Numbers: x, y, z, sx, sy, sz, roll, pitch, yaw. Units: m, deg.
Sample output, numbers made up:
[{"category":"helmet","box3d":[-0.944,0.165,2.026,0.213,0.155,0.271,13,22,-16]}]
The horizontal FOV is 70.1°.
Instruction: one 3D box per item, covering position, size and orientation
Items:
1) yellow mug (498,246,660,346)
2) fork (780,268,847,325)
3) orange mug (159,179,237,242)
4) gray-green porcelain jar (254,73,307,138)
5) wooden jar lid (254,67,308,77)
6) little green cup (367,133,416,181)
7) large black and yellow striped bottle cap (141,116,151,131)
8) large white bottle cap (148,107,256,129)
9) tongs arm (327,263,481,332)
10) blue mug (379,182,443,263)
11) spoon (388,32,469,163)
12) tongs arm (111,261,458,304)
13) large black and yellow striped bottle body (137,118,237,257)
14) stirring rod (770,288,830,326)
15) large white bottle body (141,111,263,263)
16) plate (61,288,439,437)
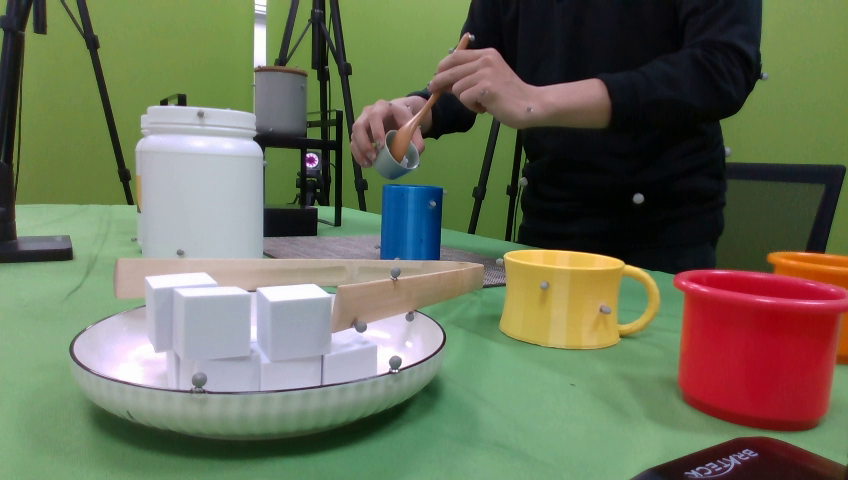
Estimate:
[{"category":"yellow mug","box3d":[0.130,0.045,0.508,0.131,0.064,0.100,4,7,6]},{"category":"fork","box3d":[0.324,0.018,0.441,0.028,0.018,0.207,-3,-36,-5]},{"category":"orange mug","box3d":[-0.368,-0.051,0.991,0.127,0.101,0.083,-10,14,-41]},{"category":"gray-green porcelain jar","box3d":[-0.298,-0.277,1.259,0.106,0.126,0.106,3,8,0]},{"category":"wooden jar lid","box3d":[-0.296,-0.339,1.251,0.108,0.020,0.108,1,7,0]},{"category":"little green cup","box3d":[-0.047,-0.113,0.831,0.062,0.038,0.061,25,35,-18]},{"category":"large black and yellow striped bottle cap","box3d":[-0.328,-0.158,0.837,0.115,0.019,0.115,2,6,0]},{"category":"large white bottle cap","box3d":[-0.250,-0.137,0.686,0.115,0.018,0.115,3,8,0]},{"category":"tongs arm","box3d":[-0.003,0.036,0.493,0.050,0.026,0.386,1,0,19]},{"category":"blue mug","box3d":[-0.019,-0.026,0.832,0.082,0.106,0.116,2,7,-5]},{"category":"spoon","box3d":[0.005,-0.185,0.794,0.022,0.193,0.041,29,10,-36]},{"category":"tongs arm","box3d":[-0.080,0.032,0.527,0.028,0.027,0.389,-3,-3,33]},{"category":"large black and yellow striped bottle body","box3d":[-0.330,-0.075,0.849,0.131,0.184,0.130,2,8,0]},{"category":"stirring rod","box3d":[0.349,0.022,0.468,0.014,0.006,0.175,-12,-26,-50]},{"category":"large white bottle body","box3d":[-0.254,-0.053,0.697,0.131,0.184,0.130,2,7,0]},{"category":"plate","box3d":[-0.095,0.069,0.362,0.208,0.039,0.207,3,7,0]}]
